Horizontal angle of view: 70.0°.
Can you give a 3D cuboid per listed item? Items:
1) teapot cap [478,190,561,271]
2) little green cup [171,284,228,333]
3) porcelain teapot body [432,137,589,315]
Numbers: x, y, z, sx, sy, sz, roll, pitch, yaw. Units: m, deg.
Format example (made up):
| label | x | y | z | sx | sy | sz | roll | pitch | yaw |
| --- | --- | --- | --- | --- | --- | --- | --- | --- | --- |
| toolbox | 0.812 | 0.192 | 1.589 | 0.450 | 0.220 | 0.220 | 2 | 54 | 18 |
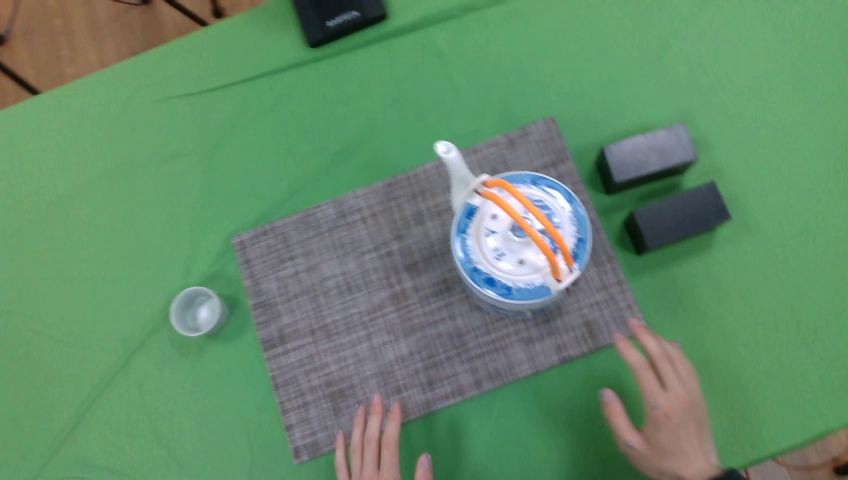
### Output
| label | x | y | z | sx | sy | sz | roll | pitch | yaw |
| --- | --- | --- | --- | --- | --- | --- | --- | --- | --- |
| teapot cap | 0.096 | -0.011 | 0.606 | 0.085 | 0.044 | 0.084 | -1 | 75 | 5 |
| little green cup | -0.280 | 0.088 | 0.763 | 0.061 | 0.039 | 0.061 | -1 | 79 | 7 |
| porcelain teapot body | 0.080 | -0.022 | 0.650 | 0.145 | 0.226 | 0.204 | -43 | 76 | -4 |
